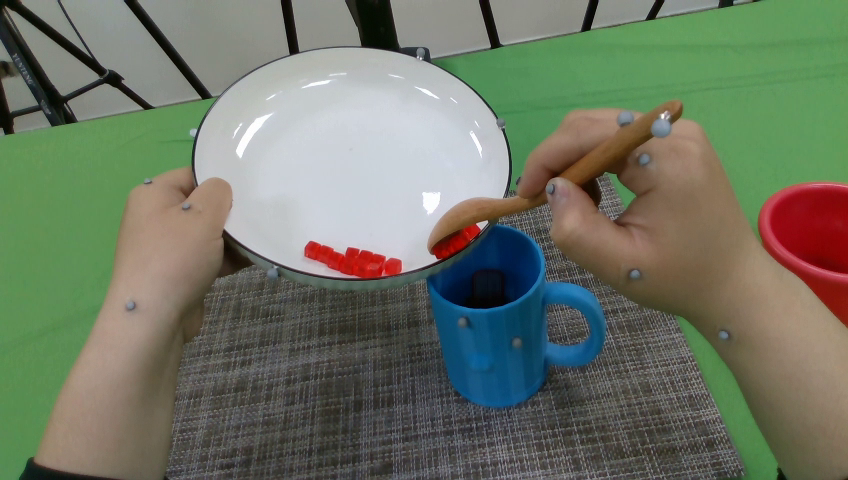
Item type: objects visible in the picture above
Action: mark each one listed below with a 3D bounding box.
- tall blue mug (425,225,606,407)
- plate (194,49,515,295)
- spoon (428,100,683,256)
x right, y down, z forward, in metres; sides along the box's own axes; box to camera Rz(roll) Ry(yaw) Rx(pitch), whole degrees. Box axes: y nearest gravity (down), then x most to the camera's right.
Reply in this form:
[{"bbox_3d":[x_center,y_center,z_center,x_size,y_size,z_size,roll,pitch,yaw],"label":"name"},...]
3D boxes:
[{"bbox_3d":[0.061,0.051,0.416,0.107,0.109,0.077,-14,43,-2],"label":"tall blue mug"},{"bbox_3d":[-0.044,-0.049,0.412,0.208,0.039,0.205,3,55,-4],"label":"plate"},{"bbox_3d":[0.049,-0.021,0.288,0.041,0.022,0.193,-36,6,-27],"label":"spoon"}]
